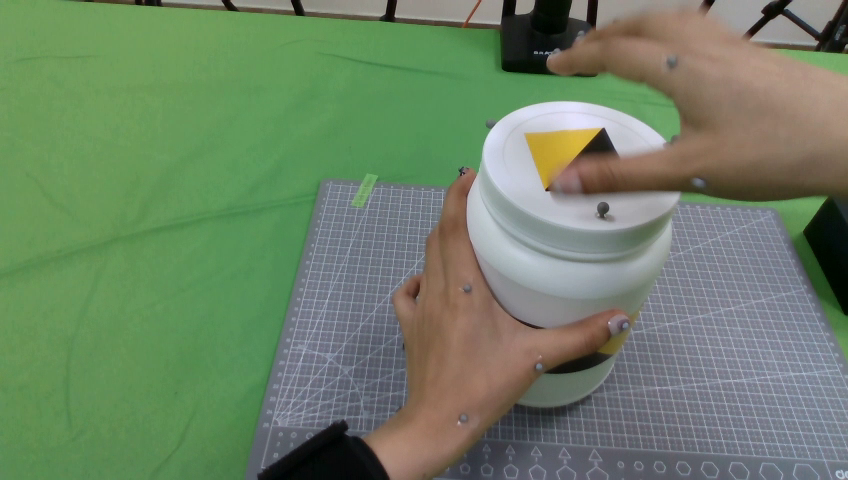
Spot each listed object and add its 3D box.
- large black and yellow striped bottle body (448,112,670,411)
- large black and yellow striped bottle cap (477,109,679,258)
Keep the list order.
[{"bbox_3d":[0.086,0.019,0.416,0.131,0.185,0.129,2,48,-1],"label":"large black and yellow striped bottle body"},{"bbox_3d":[0.089,-0.037,0.354,0.115,0.019,0.114,1,47,-1],"label":"large black and yellow striped bottle cap"}]
